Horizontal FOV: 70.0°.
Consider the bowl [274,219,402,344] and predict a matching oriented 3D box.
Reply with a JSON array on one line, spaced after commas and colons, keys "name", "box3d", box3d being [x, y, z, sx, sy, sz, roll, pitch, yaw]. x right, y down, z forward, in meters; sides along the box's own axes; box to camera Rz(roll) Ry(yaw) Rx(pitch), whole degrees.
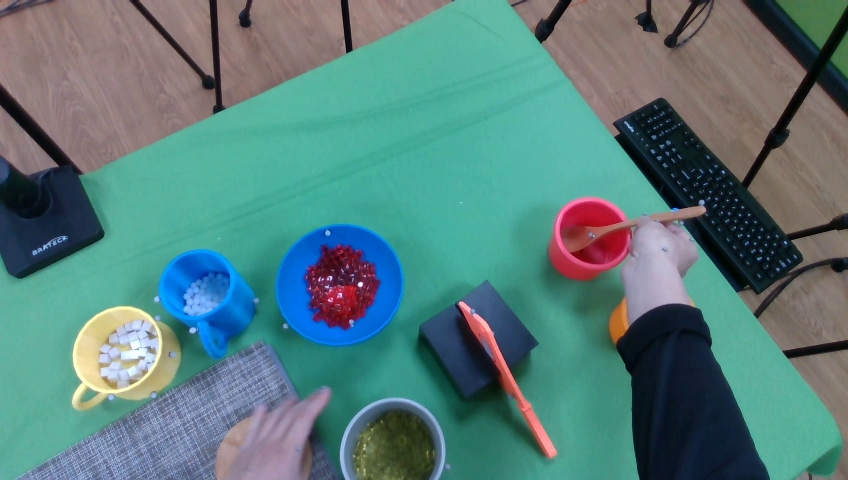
[{"name": "bowl", "box3d": [-0.101, 0.059, 0.744, 0.151, 0.077, 0.150, 1, 70, -2]}]

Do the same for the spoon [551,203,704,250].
[{"name": "spoon", "box3d": [0.246, -0.020, 0.752, 0.022, 0.193, 0.041, 37, 53, -34]}]

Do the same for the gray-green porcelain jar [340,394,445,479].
[{"name": "gray-green porcelain jar", "box3d": [-0.034, 0.229, 0.660, 0.106, 0.127, 0.105, 1, 69, -2]}]

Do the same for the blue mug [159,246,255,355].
[{"name": "blue mug", "box3d": [-0.251, 0.078, 0.715, 0.082, 0.106, 0.115, -10, 71, -6]}]

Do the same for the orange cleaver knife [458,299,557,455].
[{"name": "orange cleaver knife", "box3d": [0.096, 0.161, 0.714, 0.012, 0.077, 0.212, -32, 104, -13]}]

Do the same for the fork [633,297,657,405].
[{"name": "fork", "box3d": [0.259, 0.122, 0.701, 0.028, 0.019, 0.206, 30, 27, 3]}]

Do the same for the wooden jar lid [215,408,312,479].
[{"name": "wooden jar lid", "box3d": [-0.183, 0.250, 0.698, 0.108, 0.021, 0.107, 1, 71, -3]}]

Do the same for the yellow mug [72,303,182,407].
[{"name": "yellow mug", "box3d": [-0.356, 0.141, 0.708, 0.099, 0.064, 0.130, 36, 74, 10]}]
